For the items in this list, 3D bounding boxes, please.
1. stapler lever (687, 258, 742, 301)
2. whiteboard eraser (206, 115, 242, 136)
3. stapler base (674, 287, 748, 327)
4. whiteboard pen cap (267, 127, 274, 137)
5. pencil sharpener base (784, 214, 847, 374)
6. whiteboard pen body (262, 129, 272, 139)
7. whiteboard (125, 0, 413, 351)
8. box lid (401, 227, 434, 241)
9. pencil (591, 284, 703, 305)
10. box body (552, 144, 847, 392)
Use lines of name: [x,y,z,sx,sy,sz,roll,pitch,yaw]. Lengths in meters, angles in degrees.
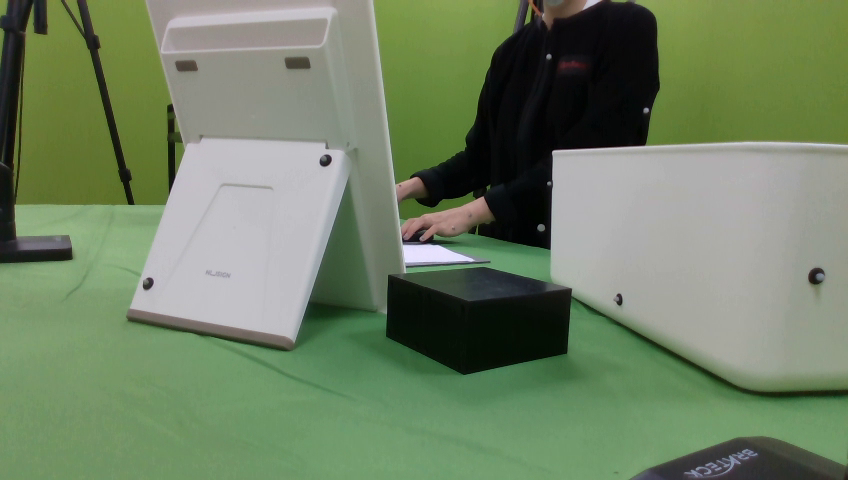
stapler lever: [0.283,0.035,0.585,0.026,0.040,0.119,11,8,37]
whiteboard eraser: [-0.438,-0.249,1.320,0.056,0.042,0.112,-3,9,-30]
stapler base: [0.281,0.061,0.586,0.041,0.024,0.131,11,9,37]
whiteboard pen cap: [-0.340,-0.239,1.338,0.018,0.018,0.033,1,-1,-15]
pencil sharpener base: [0.322,0.038,0.442,0.077,0.107,0.061,1,8,-17]
whiteboard pen body: [-0.361,-0.245,1.393,0.017,0.017,0.140,0,5,-20]
whiteboard: [-0.151,-0.050,0.471,0.216,0.305,0.144,6,27,24]
box lid: [-0.196,-0.015,1.105,0.373,0.015,0.262,-1,7,-32]
pencil: [0.248,0.057,0.656,0.195,0.012,0.012,-2,9,-35]
box body: [0.290,0.002,0.549,0.255,0.160,0.363,2,7,-10]
